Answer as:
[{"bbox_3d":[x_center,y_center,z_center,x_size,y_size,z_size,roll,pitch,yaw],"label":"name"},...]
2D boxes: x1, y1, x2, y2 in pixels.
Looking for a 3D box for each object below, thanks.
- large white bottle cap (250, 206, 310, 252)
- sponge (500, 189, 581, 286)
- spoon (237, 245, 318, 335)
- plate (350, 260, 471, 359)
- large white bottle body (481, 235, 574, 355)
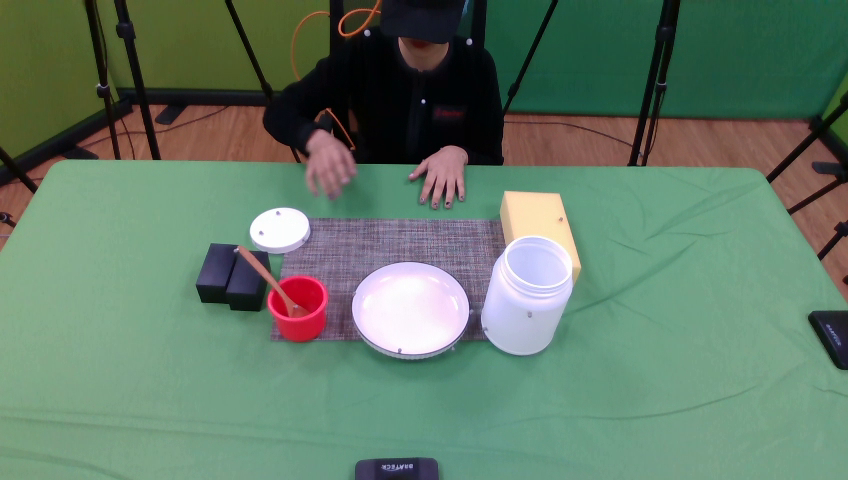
[{"bbox_3d":[-0.284,-0.022,1.197,0.115,0.018,0.114,1,46,-1],"label":"large white bottle cap"},{"bbox_3d":[0.224,-0.007,1.192,0.118,0.061,0.205,1,47,-6],"label":"sponge"},{"bbox_3d":[-0.244,0.082,1.010,0.041,0.021,0.194,-46,108,-36],"label":"spoon"},{"bbox_3d":[-0.024,0.124,1.062,0.209,0.038,0.208,2,47,-2],"label":"plate"},{"bbox_3d":[0.171,0.091,1.006,0.131,0.185,0.130,3,48,-3],"label":"large white bottle body"}]
